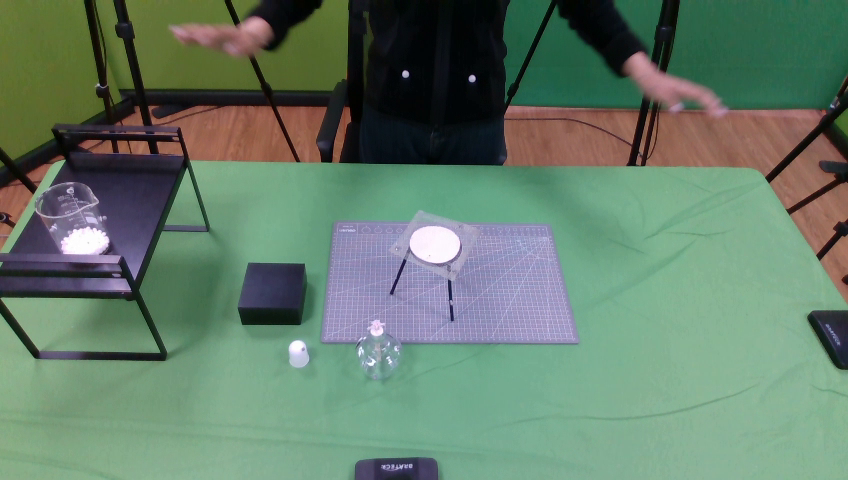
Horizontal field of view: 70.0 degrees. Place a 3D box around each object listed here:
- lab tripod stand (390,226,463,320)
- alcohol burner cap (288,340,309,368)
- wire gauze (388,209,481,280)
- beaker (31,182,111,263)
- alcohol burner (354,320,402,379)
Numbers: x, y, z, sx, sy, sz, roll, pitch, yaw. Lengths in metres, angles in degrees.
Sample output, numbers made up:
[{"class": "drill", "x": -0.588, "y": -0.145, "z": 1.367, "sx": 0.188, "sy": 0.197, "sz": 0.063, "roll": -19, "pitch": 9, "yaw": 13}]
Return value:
[{"class": "lab tripod stand", "x": 0.014, "y": 0.053, "z": 1.063, "sx": 0.148, "sy": 0.132, "sz": 0.147, "roll": 1, "pitch": 48, "yaw": -1}, {"class": "alcohol burner cap", "x": -0.207, "y": 0.183, "z": 0.991, "sx": 0.034, "sy": 0.048, "sz": 0.033, "roll": 3, "pitch": 47, "yaw": -3}, {"class": "wire gauze", "x": 0.018, "y": 0.002, "z": 1.019, "sx": 0.125, "sy": 0.011, "sz": 0.121, "roll": 21, "pitch": 49, "yaw": 16}, {"class": "beaker", "x": -0.502, "y": -0.022, "z": 0.877, "sx": 0.084, "sy": 0.101, "sz": 0.073, "roll": -2, "pitch": 47, "yaw": -7}, {"class": "alcohol burner", "x": -0.074, "y": 0.169, "z": 0.964, "sx": 0.078, "sy": 0.120, "sz": 0.077, "roll": 1, "pitch": 46, "yaw": -1}]
